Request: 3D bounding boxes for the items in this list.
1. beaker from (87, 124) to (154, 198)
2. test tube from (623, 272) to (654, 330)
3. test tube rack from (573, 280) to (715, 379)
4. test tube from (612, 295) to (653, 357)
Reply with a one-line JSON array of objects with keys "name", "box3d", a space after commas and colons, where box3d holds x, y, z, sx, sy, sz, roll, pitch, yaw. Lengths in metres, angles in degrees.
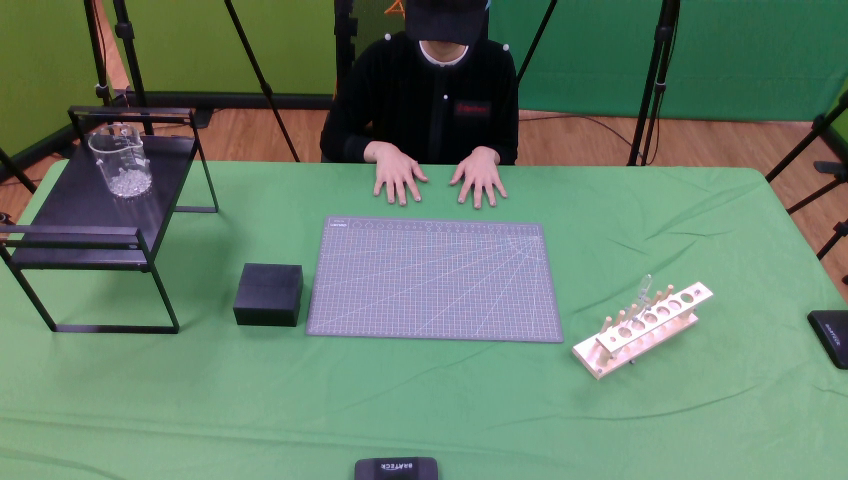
[{"name": "beaker", "box3d": [-0.482, -0.124, 0.978, 0.084, 0.101, 0.073, 9, 46, 4]}, {"name": "test tube", "box3d": [0.356, 0.104, 1.010, 0.017, 0.151, 0.017, 1, 46, -1]}, {"name": "test tube rack", "box3d": [0.378, 0.140, 1.038, 0.242, 0.085, 0.066, -22, 51, -23]}, {"name": "test tube", "box3d": [0.329, 0.141, 0.966, 0.017, 0.151, 0.017, 5, 45, -5]}]
